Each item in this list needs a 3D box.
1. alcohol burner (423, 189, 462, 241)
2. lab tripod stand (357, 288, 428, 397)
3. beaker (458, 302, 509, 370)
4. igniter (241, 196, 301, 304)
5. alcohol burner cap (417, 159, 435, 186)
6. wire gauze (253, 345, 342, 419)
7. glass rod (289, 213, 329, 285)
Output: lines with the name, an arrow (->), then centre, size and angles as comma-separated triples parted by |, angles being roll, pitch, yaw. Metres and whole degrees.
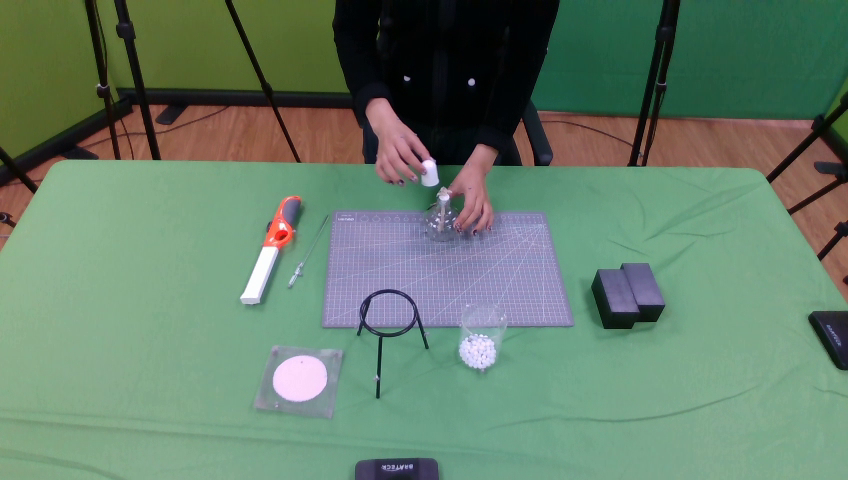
alcohol burner -> 0.036, -0.055, 1.186 | 0.078, 0.120, 0.077 | 1, 48, -1
lab tripod stand -> -0.058, 0.155, 0.967 | 0.148, 0.132, 0.147 | 3, 47, -3
beaker -> 0.092, 0.159, 0.999 | 0.083, 0.101, 0.074 | 35, 53, 28
igniter -> -0.290, 0.010, 1.164 | 0.057, 0.025, 0.275 | 0, 45, 11
alcohol burner cap -> 0.003, -0.125, 1.103 | 0.034, 0.048, 0.033 | -1, 37, 1
wire gauze -> -0.200, 0.224, 0.979 | 0.125, 0.011, 0.121 | 7, 47, 0
glass rod -> -0.222, 0.014, 1.179 | 0.008, 0.008, 0.199 | 12, 46, 8
